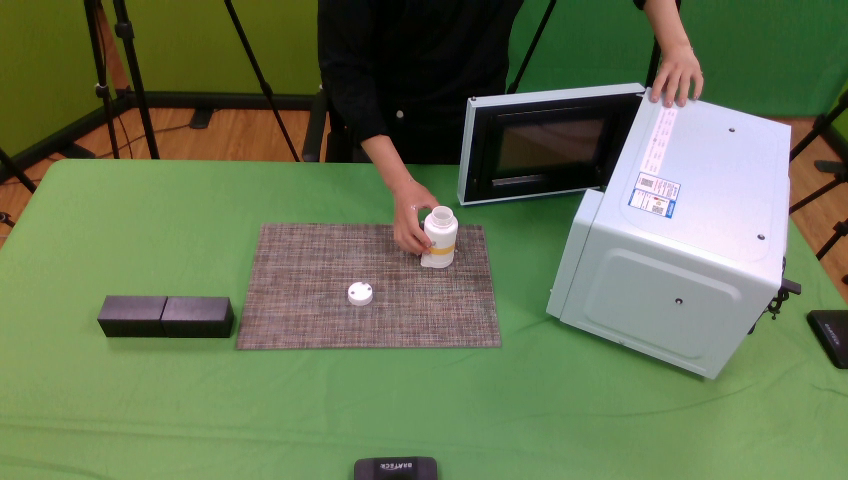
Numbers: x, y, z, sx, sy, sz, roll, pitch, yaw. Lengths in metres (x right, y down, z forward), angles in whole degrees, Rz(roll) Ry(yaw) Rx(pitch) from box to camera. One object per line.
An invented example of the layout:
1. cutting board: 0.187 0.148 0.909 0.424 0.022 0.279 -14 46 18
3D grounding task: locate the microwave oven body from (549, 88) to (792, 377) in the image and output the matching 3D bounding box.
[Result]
1. microwave oven body: 0.455 -0.028 1.088 0.325 0.261 0.440 20 47 16

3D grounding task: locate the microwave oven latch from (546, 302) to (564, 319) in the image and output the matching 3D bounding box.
1. microwave oven latch: 0.242 0.102 1.081 0.030 0.029 0.079 21 48 17

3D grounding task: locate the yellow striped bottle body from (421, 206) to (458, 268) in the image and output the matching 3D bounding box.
1. yellow striped bottle body: 0.029 -0.008 1.132 0.063 0.121 0.062 2 46 -2

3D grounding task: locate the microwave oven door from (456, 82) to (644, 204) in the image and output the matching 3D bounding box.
1. microwave oven door: 0.249 -0.193 1.225 0.356 0.245 0.039 -8 47 -11

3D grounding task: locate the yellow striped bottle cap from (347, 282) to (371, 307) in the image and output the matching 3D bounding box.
1. yellow striped bottle cap: -0.117 0.098 1.093 0.044 0.019 0.044 3 46 -3
